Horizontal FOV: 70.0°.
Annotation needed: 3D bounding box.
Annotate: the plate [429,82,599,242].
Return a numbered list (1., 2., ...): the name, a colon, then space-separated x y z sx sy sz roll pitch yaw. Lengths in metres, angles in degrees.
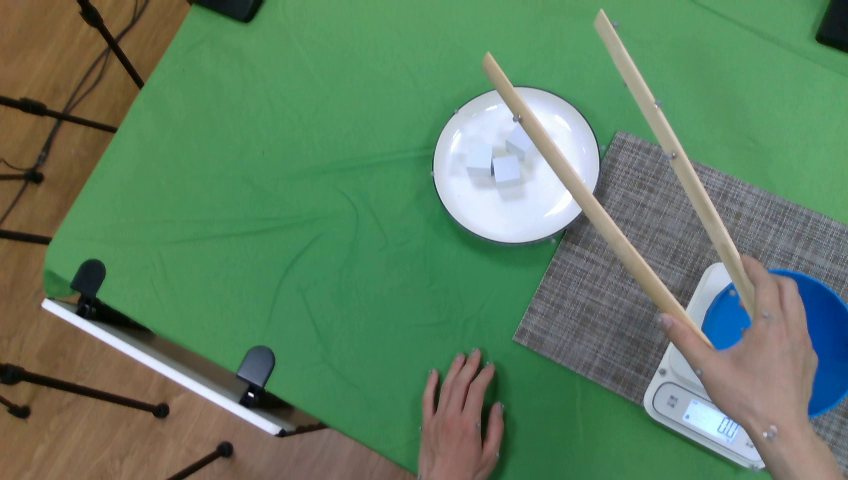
1. plate: 0.112 -0.096 0.763 0.207 0.039 0.206 -1 78 7

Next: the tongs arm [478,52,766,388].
1. tongs arm: 0.166 -0.023 0.552 0.028 0.028 0.385 -32 79 -20

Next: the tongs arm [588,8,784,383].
1. tongs arm: 0.230 -0.053 0.569 0.051 0.026 0.382 -22 76 -14

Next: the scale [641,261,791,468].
1. scale: 0.352 0.136 0.682 0.148 0.032 0.200 27 83 12

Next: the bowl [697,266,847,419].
1. bowl: 0.354 0.108 0.633 0.151 0.077 0.150 -1 79 6
